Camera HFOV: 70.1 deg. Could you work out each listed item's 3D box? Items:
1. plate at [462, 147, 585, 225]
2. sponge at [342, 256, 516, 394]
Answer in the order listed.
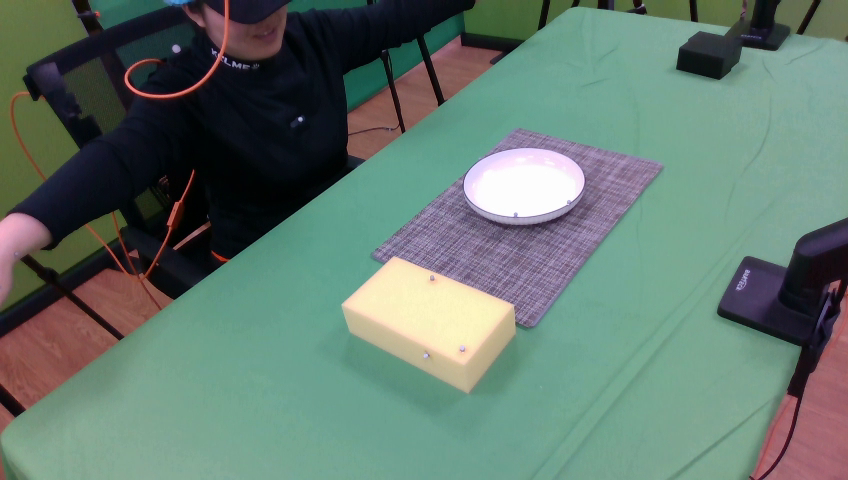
[{"bbox_3d":[0.170,-0.089,1.041,0.207,0.039,0.206,-5,40,5],"label":"plate"},{"bbox_3d":[0.006,0.109,0.827,0.205,0.061,0.118,20,48,30],"label":"sponge"}]
